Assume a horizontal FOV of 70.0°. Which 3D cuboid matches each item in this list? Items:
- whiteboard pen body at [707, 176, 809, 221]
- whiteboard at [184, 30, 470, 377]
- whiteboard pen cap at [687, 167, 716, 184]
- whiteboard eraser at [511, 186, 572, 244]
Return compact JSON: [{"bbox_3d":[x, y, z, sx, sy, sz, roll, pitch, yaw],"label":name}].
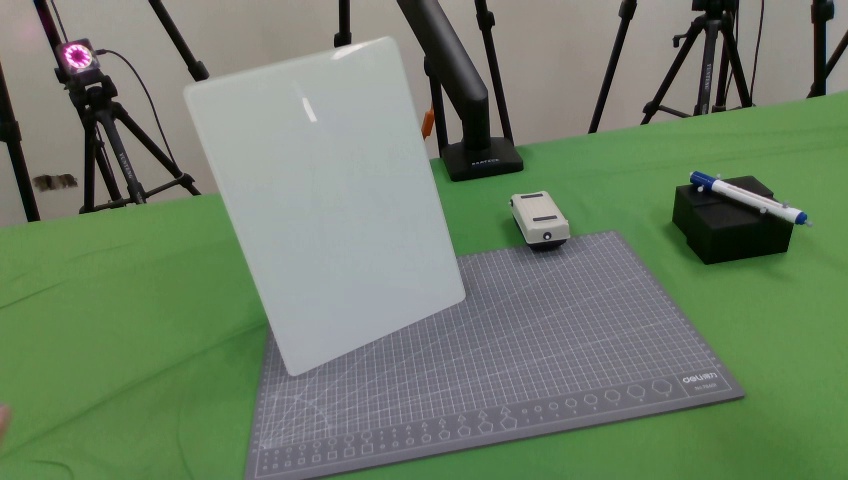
[{"bbox_3d":[0.383,-0.055,0.714,0.017,0.017,0.139,-23,36,-23],"label":"whiteboard pen body"},{"bbox_3d":[-0.108,-0.047,0.679,0.217,0.307,0.143,-22,16,-20],"label":"whiteboard"},{"bbox_3d":[0.348,-0.081,0.759,0.033,0.018,0.018,-12,28,27],"label":"whiteboard pen cap"},{"bbox_3d":[0.152,-0.033,0.796,0.055,0.042,0.111,-10,29,0],"label":"whiteboard eraser"}]
